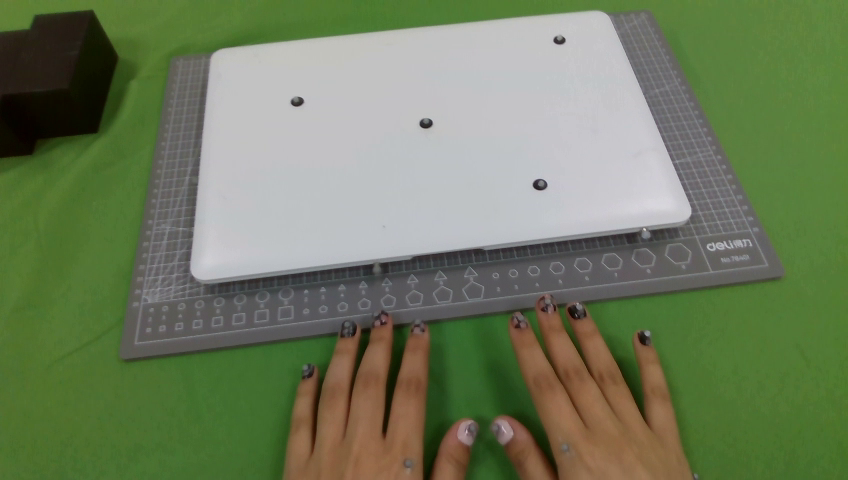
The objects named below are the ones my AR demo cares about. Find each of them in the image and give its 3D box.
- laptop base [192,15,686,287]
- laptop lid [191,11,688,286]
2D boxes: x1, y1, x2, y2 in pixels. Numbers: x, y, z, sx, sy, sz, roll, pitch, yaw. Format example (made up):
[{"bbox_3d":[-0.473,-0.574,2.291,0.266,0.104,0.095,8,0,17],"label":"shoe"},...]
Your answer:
[{"bbox_3d":[0.001,-0.083,0.488,0.354,0.023,0.233,-7,60,-3],"label":"laptop base"},{"bbox_3d":[0.001,-0.087,0.476,0.357,0.013,0.239,-6,59,-2],"label":"laptop lid"}]
